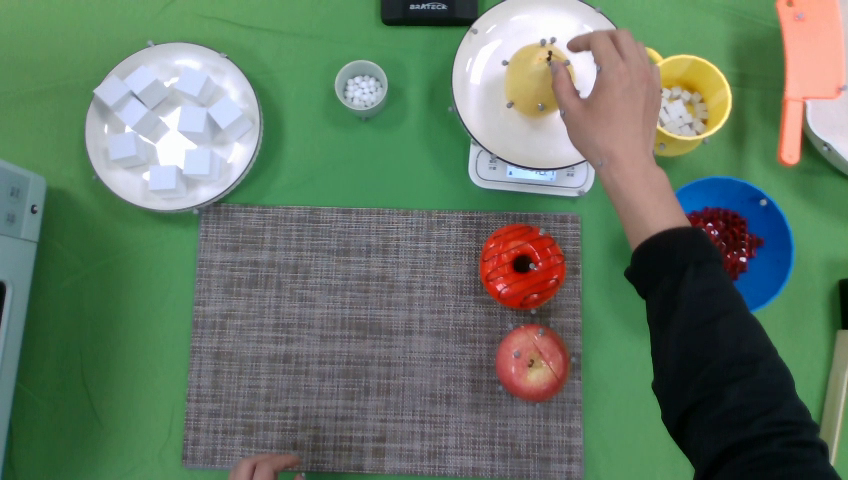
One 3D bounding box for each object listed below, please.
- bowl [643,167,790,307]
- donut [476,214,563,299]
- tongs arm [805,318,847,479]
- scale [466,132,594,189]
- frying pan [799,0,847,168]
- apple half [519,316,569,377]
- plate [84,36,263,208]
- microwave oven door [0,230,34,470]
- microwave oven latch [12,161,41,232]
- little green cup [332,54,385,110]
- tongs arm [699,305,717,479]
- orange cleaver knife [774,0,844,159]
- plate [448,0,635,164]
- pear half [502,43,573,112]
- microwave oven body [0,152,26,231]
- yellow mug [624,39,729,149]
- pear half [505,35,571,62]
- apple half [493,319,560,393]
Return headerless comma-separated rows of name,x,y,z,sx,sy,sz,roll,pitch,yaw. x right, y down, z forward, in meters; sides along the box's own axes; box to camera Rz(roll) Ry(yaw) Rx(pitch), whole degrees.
bowl,0.310,0.001,0.674,0.151,0.077,0.151,0,84,1
donut,0.107,0.019,0.688,0.099,0.048,0.099,0,83,4
tongs arm,0.417,0.272,0.664,0.028,0.028,0.386,17,83,-5
scale,0.132,-0.166,0.721,0.148,0.031,0.200,6,83,2
frying pan,0.601,-0.105,0.669,0.307,0.103,0.485,-25,75,-1
apple half,0.135,0.109,0.659,0.033,0.081,0.081,-37,83,0
plate,-0.292,-0.138,0.721,0.208,0.039,0.207,0,83,1
microwave oven door,-0.482,0.153,0.565,0.039,0.244,0.354,4,82,2
microwave oven latch,-0.462,-0.050,0.693,0.030,0.029,0.079,6,83,1
little green cup,-0.076,-0.186,0.723,0.061,0.039,0.061,0,82,1
tongs arm,0.332,0.261,0.662,0.051,0.026,0.383,2,83,-4
orange cleaver knife,0.421,-0.191,0.665,0.077,0.012,0.210,6,83,5
plate,0.131,-0.185,0.690,0.209,0.038,0.208,0,83,0
pear half,0.122,-0.172,0.644,0.076,0.110,0.056,-1,82,4
microwave oven body,-0.625,0.102,0.579,0.326,0.261,0.440,4,83,1
yellow mug,0.280,-0.176,0.702,0.100,0.064,0.130,-31,82,-2
pear half,0.123,-0.206,0.658,0.070,0.088,0.031,-3,82,3
apple half,0.103,0.132,0.658,0.053,0.075,0.080,-34,85,0
